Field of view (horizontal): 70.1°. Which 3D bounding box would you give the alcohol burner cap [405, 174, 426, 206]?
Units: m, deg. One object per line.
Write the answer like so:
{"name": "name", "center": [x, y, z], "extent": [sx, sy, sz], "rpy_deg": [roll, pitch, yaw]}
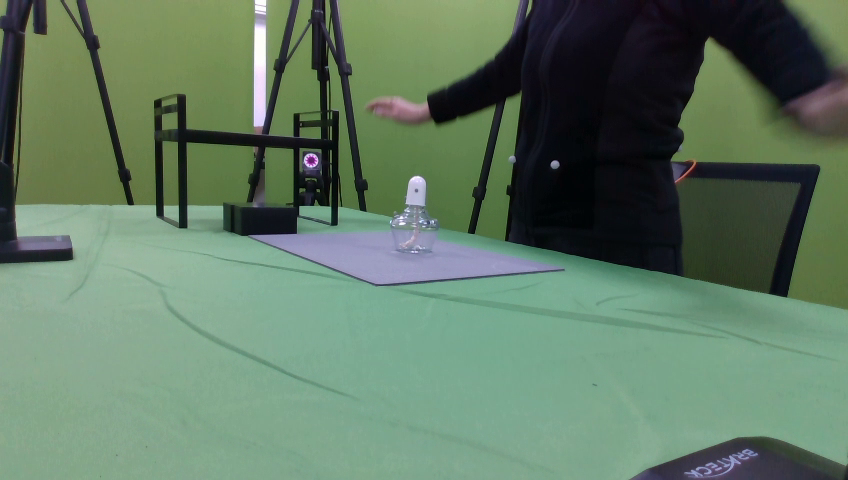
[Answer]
{"name": "alcohol burner cap", "center": [-0.012, -0.077, 0.925], "extent": [0.034, 0.048, 0.034], "rpy_deg": [4, 2, 0]}

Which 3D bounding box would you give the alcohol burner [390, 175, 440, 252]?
{"name": "alcohol burner", "center": [-0.013, -0.041, 0.930], "extent": [0.078, 0.119, 0.078], "rpy_deg": [4, 8, 0]}
